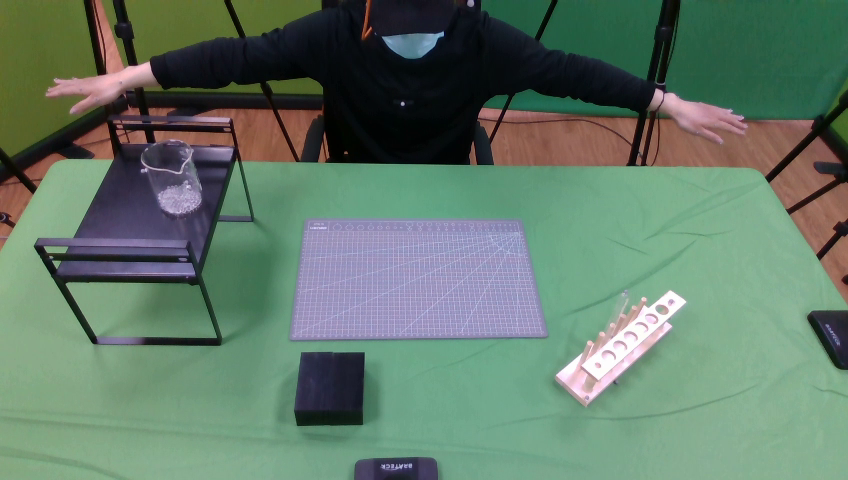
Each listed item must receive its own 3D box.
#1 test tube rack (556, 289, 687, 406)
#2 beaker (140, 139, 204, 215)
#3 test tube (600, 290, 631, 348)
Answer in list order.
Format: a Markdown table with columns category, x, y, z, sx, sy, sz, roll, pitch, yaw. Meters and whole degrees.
| category | x | y | z | sx | sy | sz | roll | pitch | yaw |
| --- | --- | --- | --- | --- | --- | --- | --- | --- | --- |
| test tube rack | 0.332 | 0.165 | 1.014 | 0.242 | 0.085 | 0.066 | -30 | 55 | -28 |
| beaker | -0.391 | -0.095 | 0.954 | 0.074 | 0.101 | 0.083 | -30 | 56 | -27 |
| test tube | 0.309 | 0.131 | 0.983 | 0.017 | 0.151 | 0.017 | 1 | 48 | -1 |
